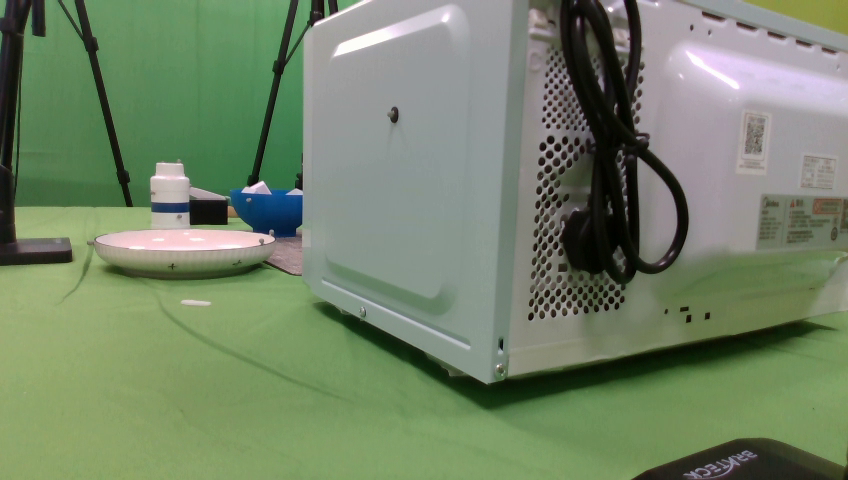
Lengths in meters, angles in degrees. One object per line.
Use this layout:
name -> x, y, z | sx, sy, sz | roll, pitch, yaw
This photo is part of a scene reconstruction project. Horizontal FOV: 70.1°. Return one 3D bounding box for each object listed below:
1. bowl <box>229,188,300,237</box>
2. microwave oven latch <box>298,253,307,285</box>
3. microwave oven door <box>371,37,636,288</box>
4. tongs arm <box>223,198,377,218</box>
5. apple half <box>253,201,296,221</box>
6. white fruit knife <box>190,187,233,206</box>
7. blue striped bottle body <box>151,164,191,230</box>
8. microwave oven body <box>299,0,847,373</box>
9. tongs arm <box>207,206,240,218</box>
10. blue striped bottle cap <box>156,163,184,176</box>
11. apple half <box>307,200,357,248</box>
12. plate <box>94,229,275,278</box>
bowl -> -0.264, -0.048, 1.066 | 0.151, 0.077, 0.151 | 2, 8, 0
microwave oven latch -> -0.081, 0.027, 0.583 | 0.079, 0.029, 0.030 | -2, 8, -33
microwave oven door -> 0.109, -0.080, 0.686 | 0.358, 0.243, 0.039 | -2, 9, -33
tongs arm -> -0.308, -0.079, 1.488 | 0.385, 0.026, 0.050 | 3, 9, -2
apple half -> -0.264, -0.053, 1.067 | 0.081, 0.033, 0.081 | 2, 10, 0
white fruit knife -> -0.413, -0.081, 1.270 | 0.208, 0.027, 0.016 | 17, 13, -41
blue striped bottle body -> -0.439, -0.071, 1.052 | 0.063, 0.120, 0.063 | 2, 7, 0
microwave oven body -> 0.152, -0.055, 0.542 | 0.444, 0.260, 0.324 | -2, 7, -33
tongs arm -> -0.301, -0.063, 1.411 | 0.389, 0.028, 0.028 | 0, 6, -14
blue striped bottle cap -> -0.439, -0.122, 1.045 | 0.044, 0.020, 0.044 | 6, 9, -1
apple half -> -0.135, -0.024, 0.941 | 0.053, 0.074, 0.081 | 13, 8, 39
plate -> -0.291, 0.016, 0.750 | 0.208, 0.039, 0.207 | 2, 7, 0
